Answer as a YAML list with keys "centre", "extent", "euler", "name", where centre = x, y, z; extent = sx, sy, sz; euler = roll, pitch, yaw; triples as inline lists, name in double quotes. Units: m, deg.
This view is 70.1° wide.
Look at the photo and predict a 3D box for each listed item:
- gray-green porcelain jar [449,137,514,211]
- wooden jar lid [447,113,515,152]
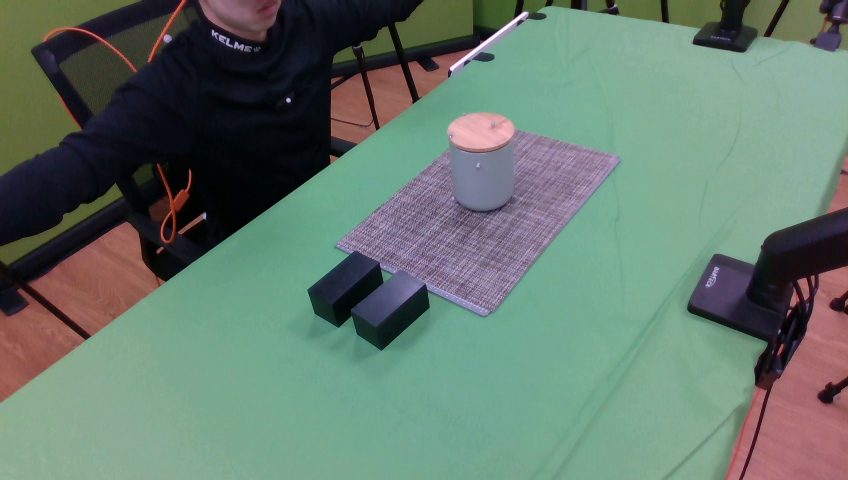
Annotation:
- centre: [0.098, -0.120, 1.008]
  extent: [0.106, 0.127, 0.105]
  euler: [-4, 41, 4]
  name: "gray-green porcelain jar"
- centre: [0.091, -0.169, 0.968]
  extent: [0.108, 0.021, 0.108]
  euler: [-4, 42, 4]
  name: "wooden jar lid"
